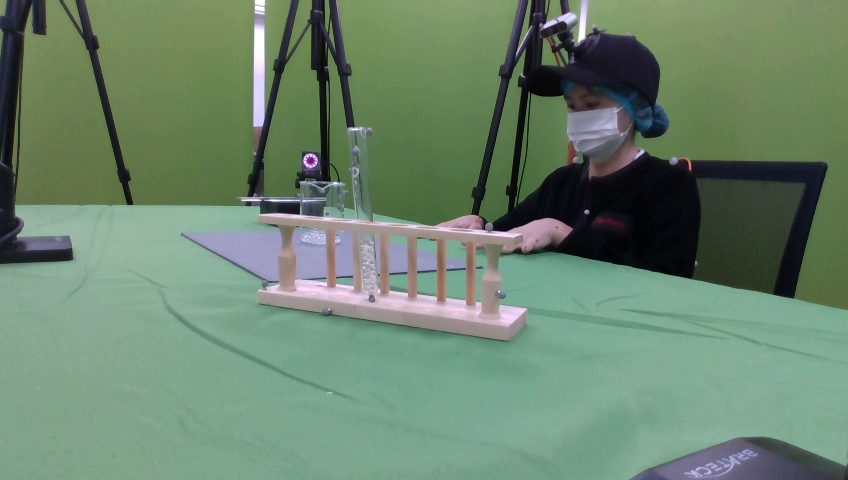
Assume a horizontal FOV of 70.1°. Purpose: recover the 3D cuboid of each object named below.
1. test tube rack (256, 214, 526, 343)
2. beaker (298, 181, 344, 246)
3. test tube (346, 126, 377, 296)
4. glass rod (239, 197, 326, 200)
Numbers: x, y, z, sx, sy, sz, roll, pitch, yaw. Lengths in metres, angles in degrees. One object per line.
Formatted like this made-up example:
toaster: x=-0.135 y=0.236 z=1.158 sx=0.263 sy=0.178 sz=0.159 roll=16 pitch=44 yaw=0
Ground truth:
test tube rack: x=-0.032 y=0.027 z=0.547 sx=0.241 sy=0.085 sz=0.067 roll=6 pitch=8 yaw=22
beaker: x=-0.166 y=-0.043 z=0.972 sx=0.074 sy=0.100 sz=0.084 roll=1 pitch=8 yaw=-10
test tube: x=-0.054 y=-0.023 z=0.529 sx=0.017 sy=0.150 sz=0.017 roll=-3 pitch=12 yaw=1
glass rod: x=-0.287 y=-0.087 z=1.250 sx=0.201 sy=0.008 sz=0.008 roll=-4 pitch=10 yaw=-42
